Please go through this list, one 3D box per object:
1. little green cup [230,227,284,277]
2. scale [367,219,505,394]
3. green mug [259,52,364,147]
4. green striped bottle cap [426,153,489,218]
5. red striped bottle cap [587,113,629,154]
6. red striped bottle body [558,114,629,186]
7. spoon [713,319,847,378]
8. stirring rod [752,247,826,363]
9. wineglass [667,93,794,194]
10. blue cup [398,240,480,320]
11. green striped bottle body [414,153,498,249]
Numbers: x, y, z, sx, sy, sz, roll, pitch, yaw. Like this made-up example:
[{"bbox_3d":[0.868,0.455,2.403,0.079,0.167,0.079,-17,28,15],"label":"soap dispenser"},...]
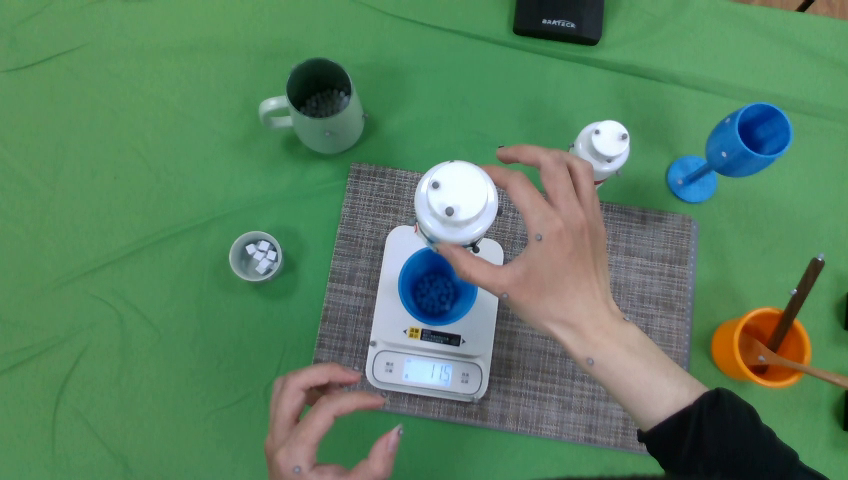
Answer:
[{"bbox_3d":[-0.201,0.017,0.741,0.061,0.039,0.061,1,79,-3],"label":"little green cup"},{"bbox_3d":[0.016,0.079,0.738,0.149,0.031,0.200,8,80,0],"label":"scale"},{"bbox_3d":[-0.139,-0.167,0.744,0.125,0.105,0.092,-13,80,-4],"label":"green mug"},{"bbox_3d":[0.024,-0.038,0.425,0.044,0.020,0.044,0,82,-1],"label":"green striped bottle cap"},{"bbox_3d":[0.209,-0.121,0.685,0.044,0.018,0.044,1,76,-2],"label":"red striped bottle cap"},{"bbox_3d":[0.208,-0.111,0.738,0.063,0.120,0.063,0,79,-2],"label":"red striped bottle body"},{"bbox_3d":[0.427,0.133,0.687,0.022,0.192,0.041,26,85,-41],"label":"spoon"},{"bbox_3d":[0.417,0.079,0.697,0.014,0.177,0.006,15,38,14],"label":"stirring rod"},{"bbox_3d":[0.354,-0.108,0.716,0.074,0.173,0.073,0,79,-1],"label":"wineglass"},{"bbox_3d":[0.015,0.047,0.677,0.093,0.100,0.092,0,82,-1],"label":"blue cup"},{"bbox_3d":[0.024,-0.030,0.481,0.063,0.119,0.063,0,83,0],"label":"green striped bottle body"}]
